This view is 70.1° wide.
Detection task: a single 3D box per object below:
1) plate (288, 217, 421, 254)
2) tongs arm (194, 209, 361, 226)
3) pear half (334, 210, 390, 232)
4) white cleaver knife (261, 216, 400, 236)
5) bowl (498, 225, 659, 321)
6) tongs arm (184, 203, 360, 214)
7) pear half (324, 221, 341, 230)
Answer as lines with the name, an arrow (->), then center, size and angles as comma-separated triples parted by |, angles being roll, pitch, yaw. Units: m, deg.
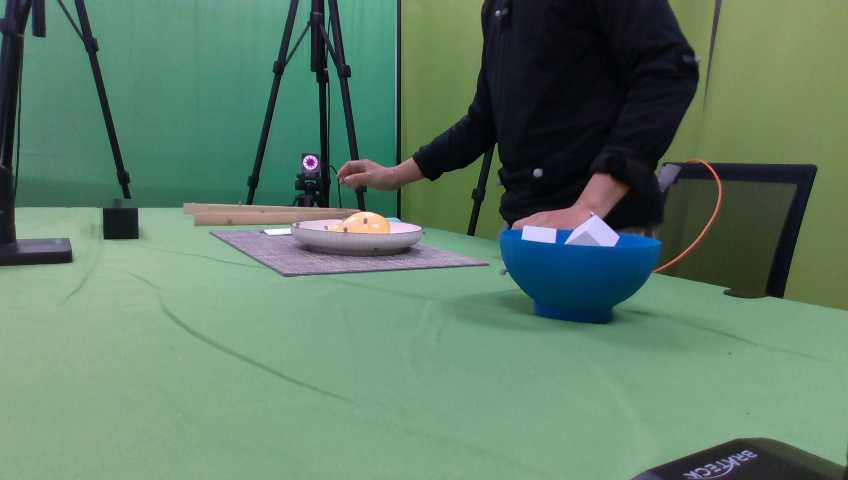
plate -> -0.109, -0.007, 0.956 | 0.208, 0.039, 0.207 | 2, 7, 0
tongs arm -> -0.298, -0.049, 1.307 | 0.390, 0.028, 0.028 | -3, 8, -37
pear half -> -0.107, -0.017, 0.920 | 0.110, 0.056, 0.076 | -4, 5, -20
white cleaver knife -> -0.169, -0.021, 1.156 | 0.288, 0.021, 0.065 | -7, 20, -33
bowl -> 0.144, 0.031, 0.585 | 0.151, 0.077, 0.151 | 2, 7, 0
tongs arm -> -0.337, -0.065, 1.376 | 0.387, 0.026, 0.050 | 0, 9, -25
pear half -> -0.126, -0.019, 1.001 | 0.088, 0.031, 0.070 | 8, 3, 1
